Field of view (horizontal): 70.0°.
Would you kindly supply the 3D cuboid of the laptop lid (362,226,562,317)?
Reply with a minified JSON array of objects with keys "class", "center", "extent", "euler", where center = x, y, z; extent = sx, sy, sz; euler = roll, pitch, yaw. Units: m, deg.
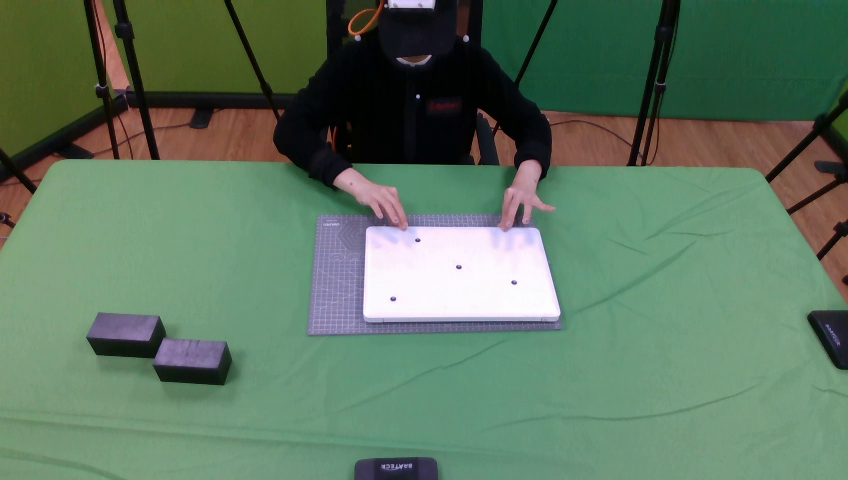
[{"class":"laptop lid","center":[0.064,0.053,1.136],"extent":[0.357,0.013,0.240],"euler":[1,44,-3]}]

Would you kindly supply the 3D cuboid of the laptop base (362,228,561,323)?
[{"class":"laptop base","center":[0.064,0.063,1.143],"extent":[0.355,0.023,0.234],"euler":[0,42,-4]}]
